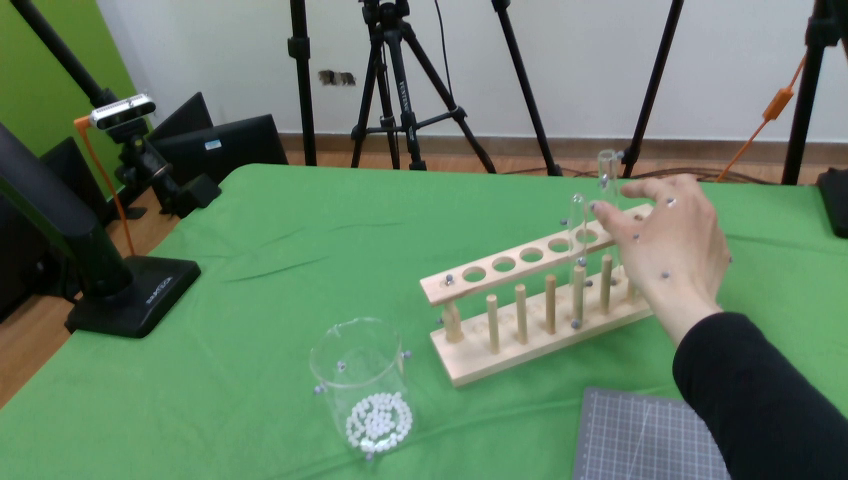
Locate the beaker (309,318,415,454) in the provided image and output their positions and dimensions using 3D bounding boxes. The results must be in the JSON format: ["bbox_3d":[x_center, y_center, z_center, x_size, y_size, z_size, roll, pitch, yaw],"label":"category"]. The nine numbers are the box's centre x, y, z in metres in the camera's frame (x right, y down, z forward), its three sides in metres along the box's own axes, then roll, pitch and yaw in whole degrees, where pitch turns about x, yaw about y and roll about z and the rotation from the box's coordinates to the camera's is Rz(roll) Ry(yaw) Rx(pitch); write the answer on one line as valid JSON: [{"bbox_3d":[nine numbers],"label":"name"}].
[{"bbox_3d":[-0.050,0.125,0.514,0.074,0.101,0.083,-27,40,-21],"label":"beaker"}]

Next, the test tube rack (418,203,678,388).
[{"bbox_3d":[0.123,0.050,0.580,0.243,0.086,0.066,-18,39,-10],"label":"test tube rack"}]

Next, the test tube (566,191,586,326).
[{"bbox_3d":[0.137,0.020,0.542,0.017,0.152,0.017,-7,37,5],"label":"test tube"}]

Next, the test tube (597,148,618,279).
[{"bbox_3d":[0.176,-0.020,0.577,0.017,0.152,0.017,-10,37,8],"label":"test tube"}]
